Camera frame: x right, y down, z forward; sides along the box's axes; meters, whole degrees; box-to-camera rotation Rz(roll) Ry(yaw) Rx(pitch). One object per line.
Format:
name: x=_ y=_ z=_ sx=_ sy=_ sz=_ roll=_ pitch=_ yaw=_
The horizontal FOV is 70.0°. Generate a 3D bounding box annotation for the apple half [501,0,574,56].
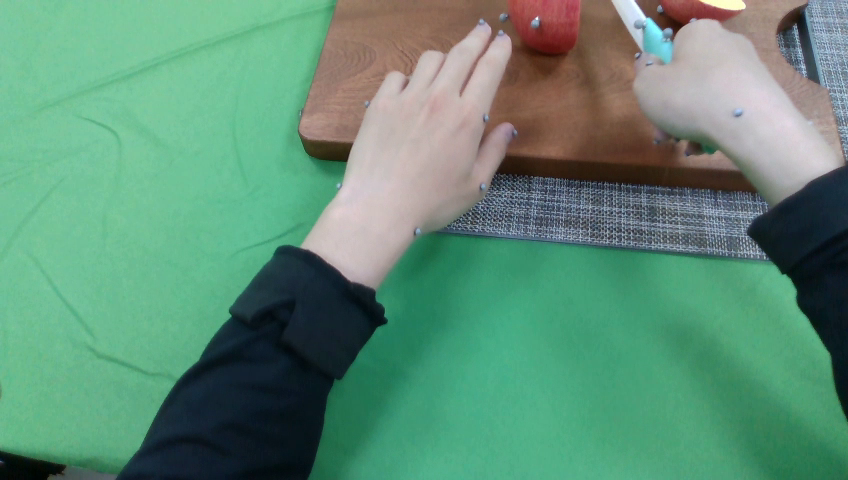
apple half: x=0.087 y=-0.187 z=0.474 sx=0.053 sy=0.075 sz=0.080 roll=-3 pitch=64 yaw=7

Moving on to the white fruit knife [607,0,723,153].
white fruit knife: x=0.156 y=-0.143 z=0.429 sx=0.016 sy=0.027 sz=0.205 roll=-11 pitch=55 yaw=-7

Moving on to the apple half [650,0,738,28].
apple half: x=0.205 y=-0.191 z=0.487 sx=0.081 sy=0.033 sz=0.080 roll=12 pitch=45 yaw=-12
